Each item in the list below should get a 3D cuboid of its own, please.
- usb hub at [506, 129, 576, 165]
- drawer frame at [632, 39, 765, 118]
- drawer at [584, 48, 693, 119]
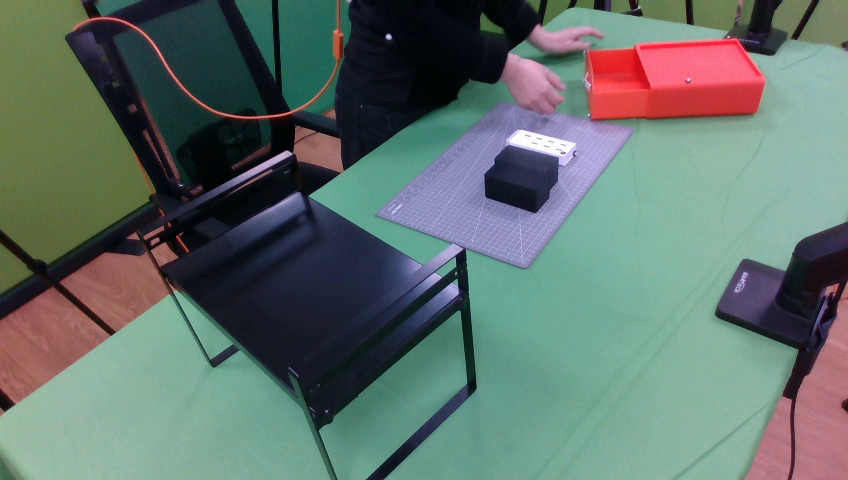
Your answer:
[{"bbox_3d":[0.220,-0.177,1.142,0.124,0.025,0.049,21,48,30],"label":"usb hub"},{"bbox_3d":[0.544,-0.332,1.233,0.213,0.083,0.201,-1,41,6],"label":"drawer frame"},{"bbox_3d":[0.442,-0.328,1.249,0.211,0.073,0.194,1,41,9],"label":"drawer"}]
